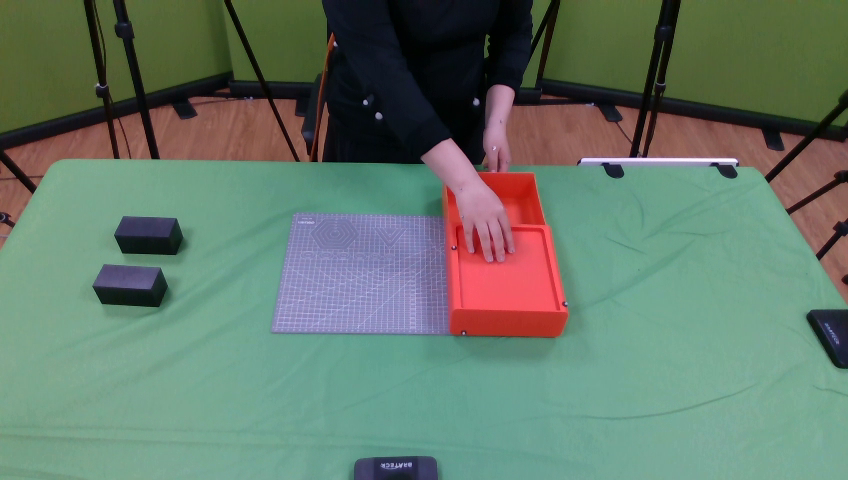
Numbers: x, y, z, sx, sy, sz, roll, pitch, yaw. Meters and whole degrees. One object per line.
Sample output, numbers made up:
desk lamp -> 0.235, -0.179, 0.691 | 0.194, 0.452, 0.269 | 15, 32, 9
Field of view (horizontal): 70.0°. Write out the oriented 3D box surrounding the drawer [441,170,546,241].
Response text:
drawer -> 0.137, -0.048, 1.214 | 0.195, 0.073, 0.210 | 2, 44, -4

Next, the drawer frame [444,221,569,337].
drawer frame -> 0.141, 0.067, 1.097 | 0.202, 0.083, 0.212 | 2, 46, -4

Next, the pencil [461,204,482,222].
pencil -> 0.133, -0.018, 1.220 | 0.012, 0.012, 0.193 | -24, 51, -25
